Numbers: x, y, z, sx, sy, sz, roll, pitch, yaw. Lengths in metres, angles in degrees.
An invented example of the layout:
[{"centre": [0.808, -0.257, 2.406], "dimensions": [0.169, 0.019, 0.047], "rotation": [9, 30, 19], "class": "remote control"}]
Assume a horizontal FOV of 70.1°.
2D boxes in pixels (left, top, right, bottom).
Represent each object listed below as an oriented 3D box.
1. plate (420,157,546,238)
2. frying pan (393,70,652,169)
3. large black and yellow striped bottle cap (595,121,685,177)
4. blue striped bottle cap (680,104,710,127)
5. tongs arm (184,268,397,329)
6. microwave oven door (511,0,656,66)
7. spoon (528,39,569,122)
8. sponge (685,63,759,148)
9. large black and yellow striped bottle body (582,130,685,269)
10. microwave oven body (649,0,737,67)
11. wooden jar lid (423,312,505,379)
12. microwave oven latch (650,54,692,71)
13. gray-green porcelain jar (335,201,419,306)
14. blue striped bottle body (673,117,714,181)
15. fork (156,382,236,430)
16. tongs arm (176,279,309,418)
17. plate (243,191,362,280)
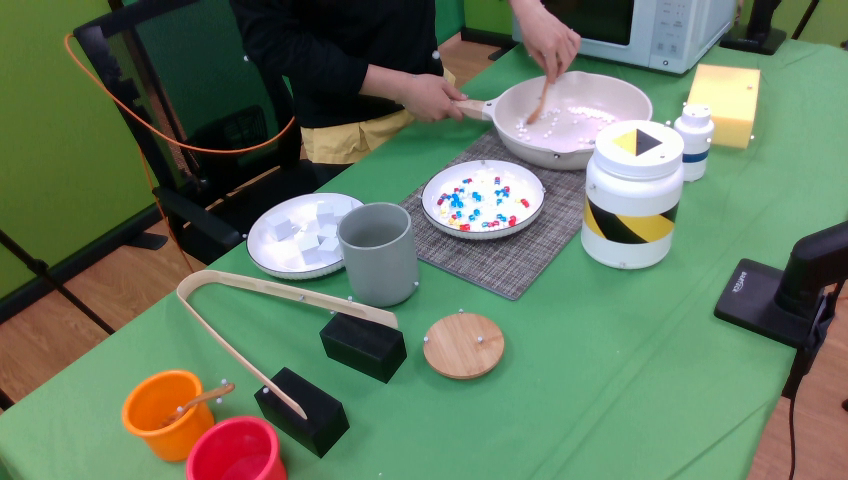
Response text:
[{"centre": [0.099, -0.067, 1.017], "dimensions": [0.209, 0.038, 0.208], "rotation": [-4, 40, 4], "class": "plate"}, {"centre": [0.175, -0.248, 1.165], "dimensions": [0.487, 0.103, 0.306], "rotation": [12, 43, 9], "class": "frying pan"}, {"centre": [0.292, -0.126, 0.821], "dimensions": [0.115, 0.019, 0.114], "rotation": [-5, 40, 4], "class": "large black and yellow striped bottle cap"}, {"centre": [0.443, -0.205, 0.989], "dimensions": [0.044, 0.021, 0.044], "rotation": [-1, 41, 2], "class": "blue striped bottle cap"}, {"centre": [-0.202, 0.084, 0.848], "dimensions": [0.382, 0.027, 0.051], "rotation": [11, 45, 35], "class": "tongs arm"}, {"centre": [0.351, -0.540, 1.349], "dimensions": [0.353, 0.245, 0.039], "rotation": [24, 50, 31], "class": "microwave oven door"}, {"centre": [0.252, -0.322, 1.218], "dimensions": [0.021, 0.042, 0.193], "rotation": [20, 82, 14], "class": "spoon"}, {"centre": [0.569, -0.263, 1.164], "dimensions": [0.117, 0.061, 0.207], "rotation": [12, 45, 22], "class": "sponge"}, {"centre": [0.301, -0.063, 0.877], "dimensions": [0.131, 0.185, 0.130], "rotation": [-4, 41, 4], "class": "large black and yellow striped bottle body"}, {"centre": [0.475, -0.602, 1.411], "dimensions": [0.438, 0.261, 0.327], "rotation": [23, 50, 32], "class": "microwave oven body"}, {"centre": [0.053, 0.142, 0.800], "dimensions": [0.108, 0.021, 0.108], "rotation": [-5, 39, 4], "class": "wooden jar lid"}, {"centre": [0.531, -0.386, 1.301], "dimensions": [0.078, 0.029, 0.030], "rotation": [24, 50, 32], "class": "microwave oven latch"}, {"centre": [-0.064, 0.024, 0.872], "dimensions": [0.106, 0.127, 0.105], "rotation": [-4, 41, 4], "class": "gray-green porcelain jar"}, {"centre": [0.449, -0.165, 1.022], "dimensions": [0.063, 0.121, 0.063], "rotation": [-5, 41, 4], "class": "blue striped bottle body"}, {"centre": [-0.262, 0.189, 0.690], "dimensions": [0.018, 0.206, 0.028], "rotation": [49, 43, -7], "class": "fork"}, {"centre": [-0.254, 0.132, 0.801], "dimensions": [0.028, 0.028, 0.384], "rotation": [-41, 40, -23], "class": "tongs arm"}, {"centre": [-0.187, -0.005, 0.992], "dimensions": [0.207, 0.039, 0.206], "rotation": [-4, 41, 4], "class": "plate"}]
